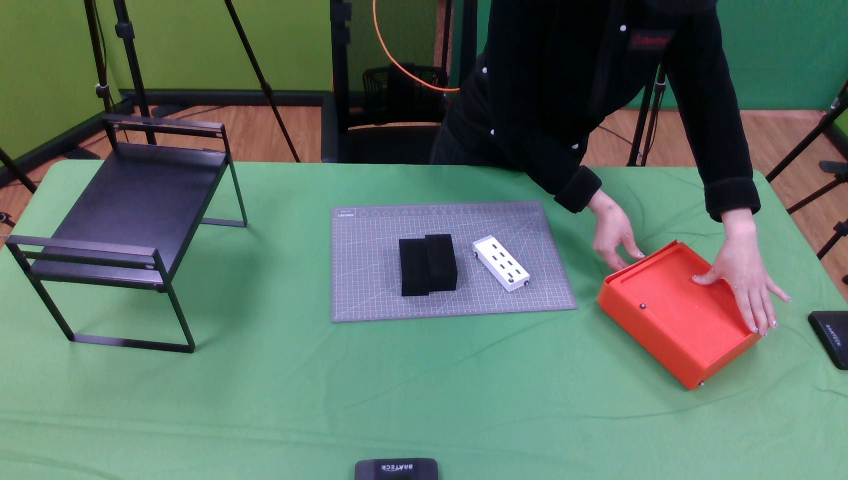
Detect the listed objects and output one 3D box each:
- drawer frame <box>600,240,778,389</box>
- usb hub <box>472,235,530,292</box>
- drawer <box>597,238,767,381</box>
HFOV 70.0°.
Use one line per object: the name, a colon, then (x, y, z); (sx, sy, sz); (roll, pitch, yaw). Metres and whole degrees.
drawer frame: (0.460, 0.122, 1.068); (0.202, 0.083, 0.212); (-25, 53, -25)
usb hub: (0.145, 0.043, 1.159); (0.049, 0.025, 0.124); (-24, 51, -22)
drawer: (0.453, 0.117, 1.075); (0.194, 0.073, 0.210); (-24, 53, -25)
